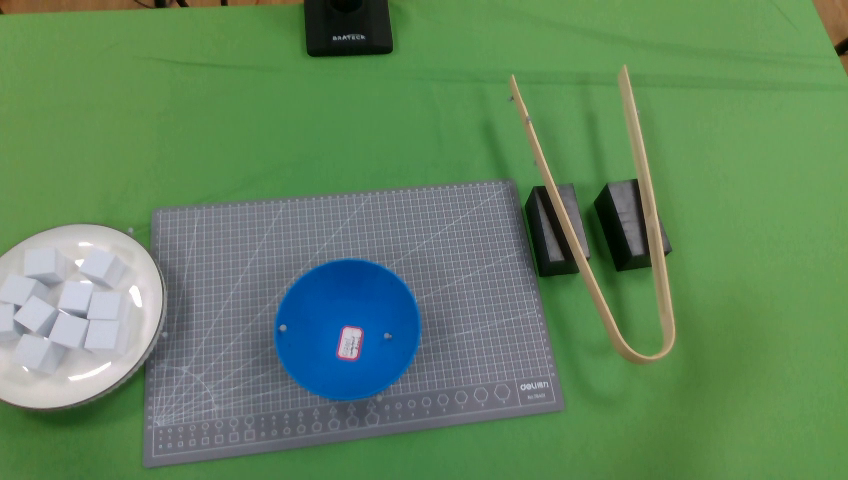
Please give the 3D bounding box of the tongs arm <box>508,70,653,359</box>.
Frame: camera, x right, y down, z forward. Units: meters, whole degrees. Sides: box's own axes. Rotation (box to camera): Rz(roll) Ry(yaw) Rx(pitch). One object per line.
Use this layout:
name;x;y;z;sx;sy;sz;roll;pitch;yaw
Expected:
tongs arm;0.175;-0.044;0.712;0.051;0.027;0.381;-10;68;-9

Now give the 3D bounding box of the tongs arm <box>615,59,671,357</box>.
tongs arm;0.254;-0.053;0.720;0.028;0.028;0.384;3;67;-7

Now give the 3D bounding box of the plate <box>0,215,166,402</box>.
plate;-0.385;0.073;0.660;0.208;0.039;0.206;1;67;-3

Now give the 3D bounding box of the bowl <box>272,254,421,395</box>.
bowl;-0.081;0.098;0.652;0.151;0.077;0.150;2;67;-4
